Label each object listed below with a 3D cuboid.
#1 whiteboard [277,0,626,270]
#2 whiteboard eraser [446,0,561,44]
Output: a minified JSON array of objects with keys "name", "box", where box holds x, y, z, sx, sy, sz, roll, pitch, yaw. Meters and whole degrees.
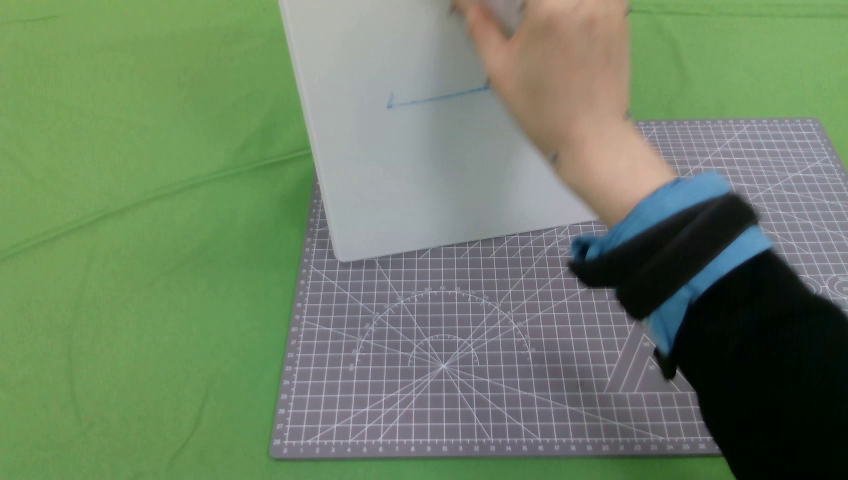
[{"name":"whiteboard","box":[0.015,-0.158,0.440,0.217,0.308,0.142,-9,35,-4]},{"name":"whiteboard eraser","box":[0.037,-0.153,0.357,0.102,0.041,0.018,22,28,-24]}]
